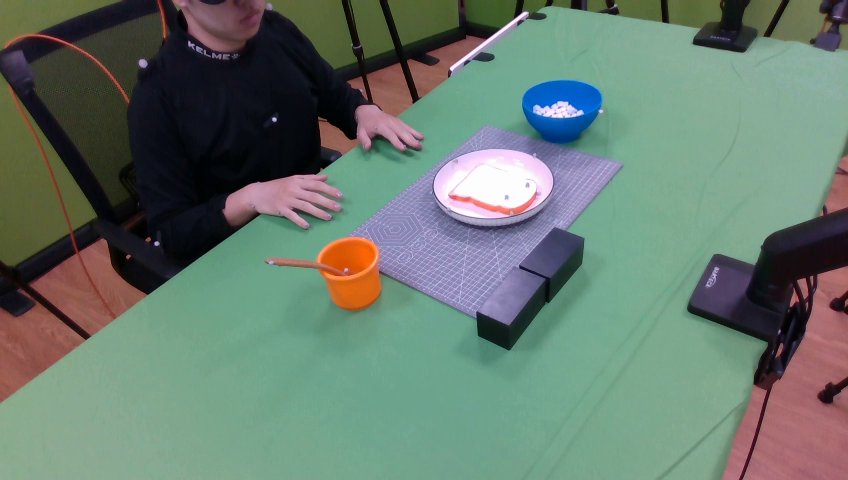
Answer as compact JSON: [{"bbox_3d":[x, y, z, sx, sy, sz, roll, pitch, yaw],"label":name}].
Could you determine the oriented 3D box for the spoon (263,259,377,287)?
[{"bbox_3d":[-0.140,0.042,0.843,0.041,0.195,0.021,35,101,41],"label":"spoon"}]

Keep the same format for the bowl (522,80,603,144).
[{"bbox_3d":[0.264,-0.239,1.166,0.151,0.077,0.150,-4,41,4],"label":"bowl"}]

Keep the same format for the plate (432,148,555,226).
[{"bbox_3d":[0.119,-0.087,1.037,0.209,0.038,0.208,-4,40,4],"label":"plate"}]

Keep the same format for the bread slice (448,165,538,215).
[{"bbox_3d":[0.126,-0.085,1.038,0.133,0.018,0.107,17,45,27],"label":"bread slice"}]
